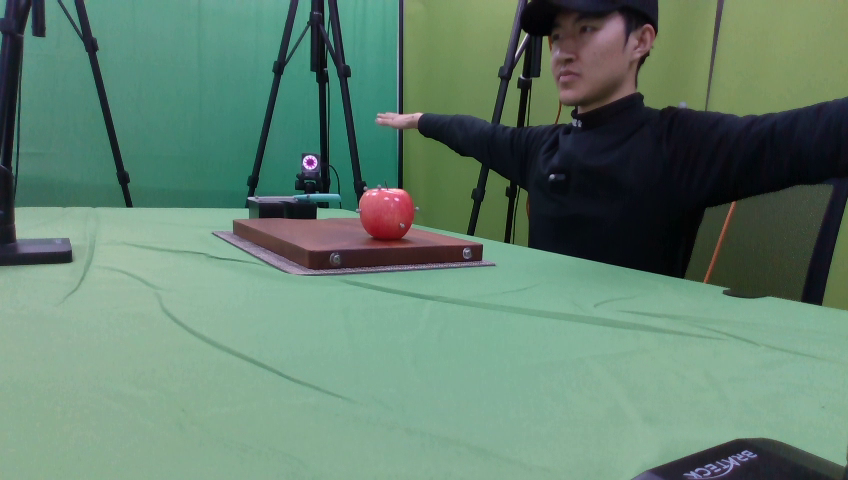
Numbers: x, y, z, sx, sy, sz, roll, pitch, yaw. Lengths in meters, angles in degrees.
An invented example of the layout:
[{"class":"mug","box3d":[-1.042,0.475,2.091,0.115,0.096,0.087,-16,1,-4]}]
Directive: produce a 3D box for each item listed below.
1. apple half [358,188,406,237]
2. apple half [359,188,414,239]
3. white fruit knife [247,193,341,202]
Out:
[{"class":"apple half","box3d":[-0.068,-0.043,0.904,0.082,0.081,0.032,-2,11,-29]},{"class":"apple half","box3d":[-0.049,-0.037,0.870,0.081,0.074,0.053,3,10,-30]},{"class":"white fruit knife","box3d":[-0.271,-0.088,1.283,0.208,0.016,0.027,-4,-20,-31]}]
